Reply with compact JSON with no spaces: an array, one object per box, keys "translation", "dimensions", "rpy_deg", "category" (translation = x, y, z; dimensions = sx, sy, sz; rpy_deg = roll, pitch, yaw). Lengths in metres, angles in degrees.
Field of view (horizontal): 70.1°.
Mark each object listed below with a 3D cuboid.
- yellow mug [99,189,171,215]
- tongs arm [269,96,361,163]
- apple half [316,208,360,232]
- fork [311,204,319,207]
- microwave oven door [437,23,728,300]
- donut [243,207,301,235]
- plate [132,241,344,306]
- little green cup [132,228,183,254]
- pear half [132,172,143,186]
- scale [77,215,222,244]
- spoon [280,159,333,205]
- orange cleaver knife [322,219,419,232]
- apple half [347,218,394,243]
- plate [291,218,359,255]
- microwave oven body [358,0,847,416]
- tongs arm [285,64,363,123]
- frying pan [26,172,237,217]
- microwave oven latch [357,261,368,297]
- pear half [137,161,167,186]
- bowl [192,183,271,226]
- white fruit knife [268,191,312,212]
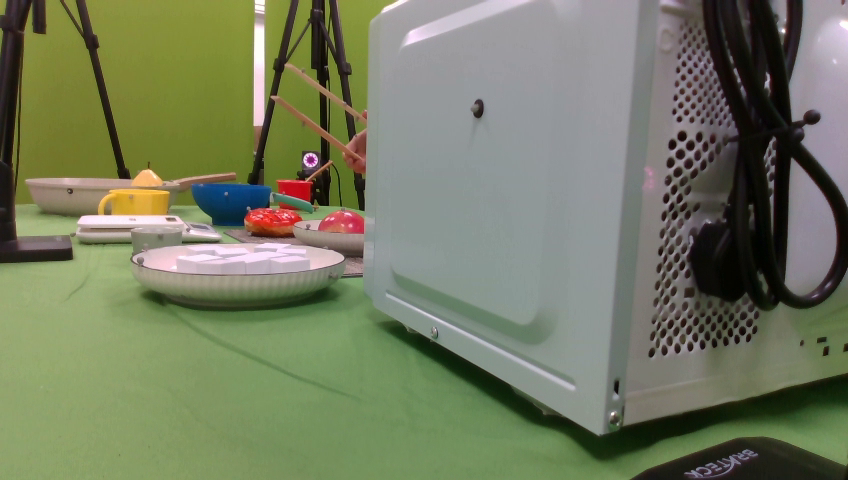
[{"translation":[-0.518,-0.055,1.080],"dimensions":[0.099,0.064,0.131],"rpy_deg":[7,9,26],"category":"yellow mug"},{"translation":[-0.125,-0.164,1.098],"dimensions":[0.027,0.028,0.390],"rpy_deg":[12,-11,40],"category":"tongs arm"},{"translation":[-0.122,-0.020,0.901],"dimensions":[0.080,0.053,0.075],"rpy_deg":[4,11,20],"category":"apple half"},{"translation":[-0.356,-0.105,1.526],"dimensions":[0.208,0.018,0.028],"rpy_deg":[16,-6,-41],"category":"fork"},{"translation":[0.180,-0.072,0.621],"dimensions":[0.358,0.243,0.039],"rpy_deg":[-2,8,-29],"category":"microwave oven door"},{"translation":[-0.261,-0.032,1.043],"dimensions":[0.099,0.048,0.099],"rpy_deg":[4,9,0],"category":"donut"},{"translation":[-0.187,0.033,0.625],"dimensions":[0.208,0.039,0.207],"rpy_deg":[2,8,0],"category":"plate"},{"translation":[-0.342,0.006,0.779],"dimensions":[0.061,0.038,0.061],"rpy_deg":[2,8,0],"category":"little green cup"},{"translation":[-0.638,-0.113,1.361],"dimensions":[0.031,0.088,0.070],"rpy_deg":[5,11,4],"category":"pear half"},{"translation":[-0.434,-0.019,0.963],"dimensions":[0.202,0.031,0.148],"rpy_deg":[-1,9,-27],"category":"scale"},{"translation":[-0.316,-0.159,1.640],"dimensions":[0.194,0.022,0.041],"rpy_deg":[-50,32,-20],"category":"spoon"},{"translation":[-0.097,-0.027,1.153],"dimensions":[0.077,0.012,0.212],"rpy_deg":[1,6,41],"category":"orange cleaver knife"},{"translation":[-0.084,-0.019,0.967],"dimensions":[0.081,0.033,0.081],"rpy_deg":[7,10,-1],"category":"apple half"},{"translation":[-0.098,-0.007,0.928],"dimensions":[0.209,0.038,0.209],"rpy_deg":[2,8,0],"category":"plate"},{"translation":[0.211,-0.047,0.474],"dimensions":[0.444,0.260,0.324],"rpy_deg":[-1,7,-28],"category":"microwave oven body"},{"translation":[-0.111,-0.196,1.102],"dimensions":[0.026,0.050,0.387],"rpy_deg":[16,-8,41],"category":"tongs arm"},{"translation":[-0.624,-0.118,1.387],"dimensions":[0.305,0.102,0.490],"rpy_deg":[8,17,32],"category":"frying pan"},{"translation":[-0.019,0.033,0.531],"dimensions":[0.079,0.029,0.030],"rpy_deg":[-1,7,-27],"category":"microwave oven latch"},{"translation":[-0.602,-0.120,1.354],"dimensions":[0.056,0.110,0.076],"rpy_deg":[4,11,6],"category":"pear half"},{"translation":[-0.382,-0.071,1.202],"dimensions":[0.151,0.077,0.151],"rpy_deg":[3,7,0],"category":"bowl"},{"translation":[-0.364,-0.105,1.464],"dimensions":[0.208,0.027,0.016],"rpy_deg":[15,0,-34],"category":"white fruit knife"}]
